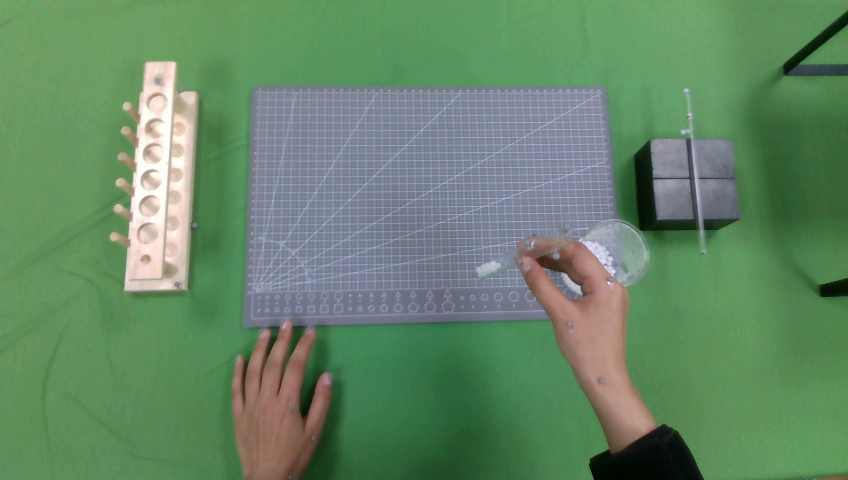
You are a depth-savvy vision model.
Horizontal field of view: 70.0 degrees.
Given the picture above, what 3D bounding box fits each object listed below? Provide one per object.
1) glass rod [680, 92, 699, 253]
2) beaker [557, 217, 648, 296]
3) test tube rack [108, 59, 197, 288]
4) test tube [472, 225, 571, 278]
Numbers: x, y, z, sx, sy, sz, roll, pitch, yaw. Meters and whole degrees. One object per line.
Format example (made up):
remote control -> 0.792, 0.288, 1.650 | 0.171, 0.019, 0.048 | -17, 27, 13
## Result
glass rod -> 0.314, -0.082, 0.716 | 0.008, 0.008, 0.199 | 1, 78, -3
beaker -> 0.194, 0.023, 0.684 | 0.084, 0.100, 0.073 | 1, 77, -2
test tube rack -> -0.308, -0.072, 0.681 | 0.067, 0.085, 0.241 | -1, 78, -4
test tube -> 0.082, 0.013, 0.547 | 0.017, 0.150, 0.017 | 7, 73, -22
